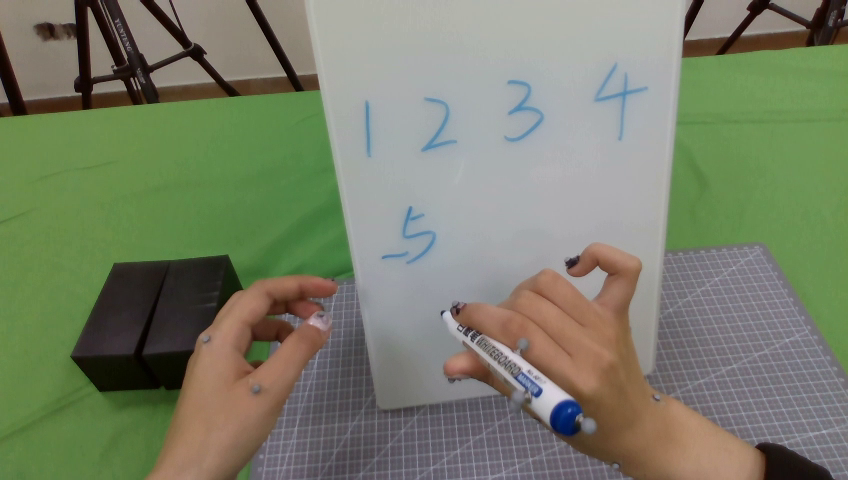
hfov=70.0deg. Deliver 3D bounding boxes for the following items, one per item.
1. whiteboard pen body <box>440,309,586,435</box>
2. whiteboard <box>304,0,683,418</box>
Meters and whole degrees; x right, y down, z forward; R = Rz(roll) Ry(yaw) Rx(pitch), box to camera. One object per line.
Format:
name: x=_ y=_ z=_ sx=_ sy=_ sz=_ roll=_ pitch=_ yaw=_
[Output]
whiteboard pen body: x=0.037 y=0.060 z=0.314 sx=0.017 sy=0.017 sz=0.139 roll=-21 pitch=20 yaw=-16
whiteboard: x=0.052 y=-0.043 z=0.459 sx=0.217 sy=0.307 sz=0.142 roll=-7 pitch=26 yaw=-1
